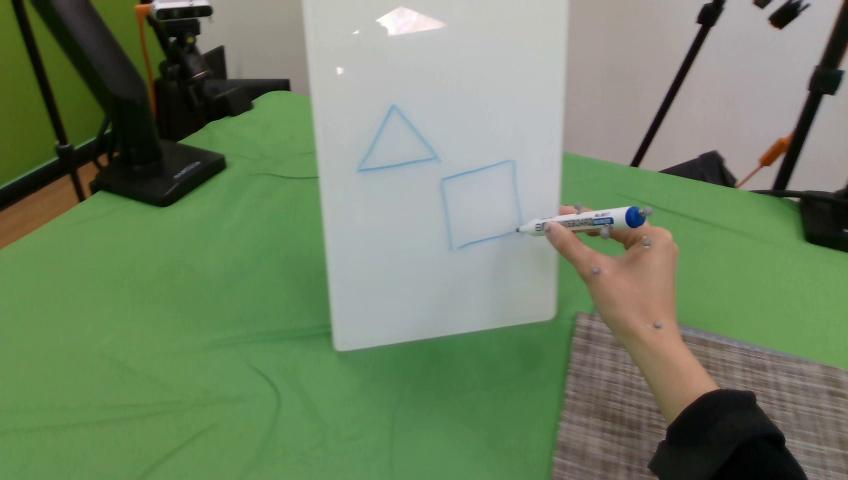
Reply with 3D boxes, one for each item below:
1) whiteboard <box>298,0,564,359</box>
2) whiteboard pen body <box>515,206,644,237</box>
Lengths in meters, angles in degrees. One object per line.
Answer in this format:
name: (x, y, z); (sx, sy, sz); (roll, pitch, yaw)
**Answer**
whiteboard: (0.003, -0.071, 0.580); (0.218, 0.307, 0.142); (-7, 18, -12)
whiteboard pen body: (0.114, -0.012, 0.473); (0.017, 0.017, 0.140); (-19, 6, -27)
